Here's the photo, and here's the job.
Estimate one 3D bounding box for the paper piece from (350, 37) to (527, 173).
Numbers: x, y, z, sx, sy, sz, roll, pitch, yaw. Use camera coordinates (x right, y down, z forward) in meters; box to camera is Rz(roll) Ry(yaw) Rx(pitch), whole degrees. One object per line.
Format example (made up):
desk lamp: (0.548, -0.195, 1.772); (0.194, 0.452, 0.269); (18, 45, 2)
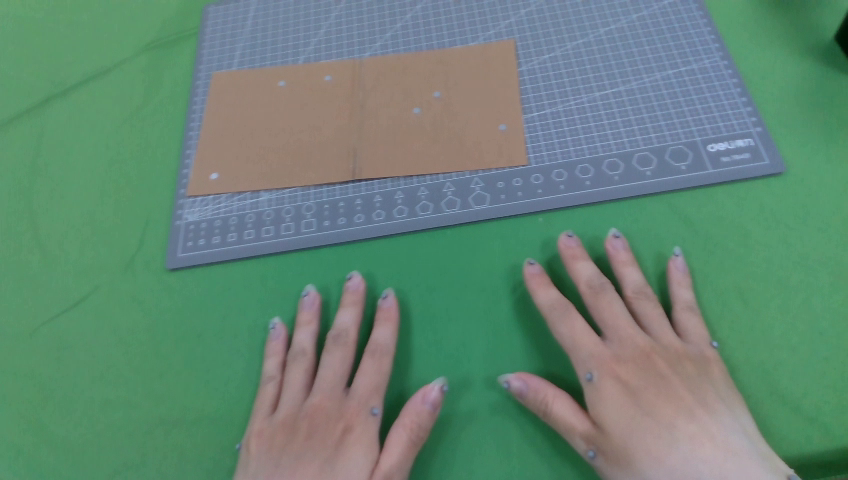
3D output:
paper piece: (0.010, -0.112, 0.490); (0.135, 0.004, 0.134); (-3, 59, 5)

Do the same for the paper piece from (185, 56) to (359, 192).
paper piece: (-0.123, -0.101, 0.503); (0.138, 0.009, 0.134); (-4, 56, 7)
